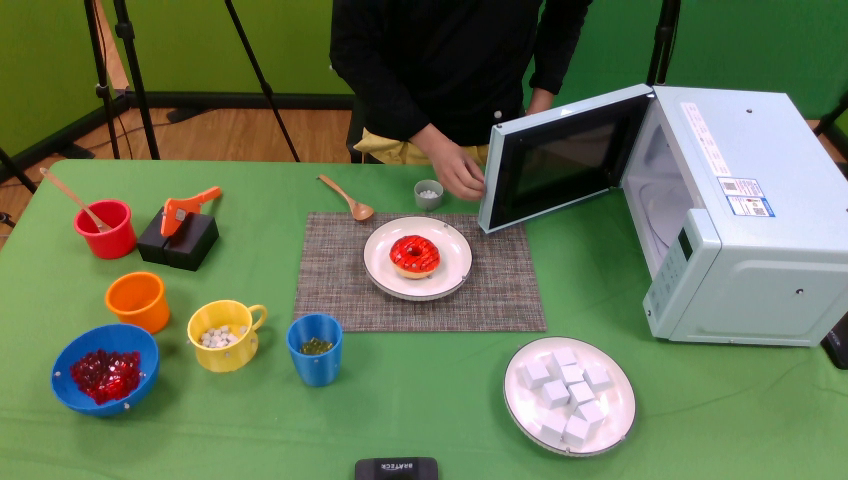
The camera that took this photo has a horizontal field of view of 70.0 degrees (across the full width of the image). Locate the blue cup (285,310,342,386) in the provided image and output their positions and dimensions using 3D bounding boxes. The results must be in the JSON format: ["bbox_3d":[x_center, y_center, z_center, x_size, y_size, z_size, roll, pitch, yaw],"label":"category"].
[{"bbox_3d":[-0.170,0.179,0.958,0.093,0.101,0.092,2,44,-1],"label":"blue cup"}]

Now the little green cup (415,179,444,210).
[{"bbox_3d":[0.011,-0.094,1.278,0.061,0.039,0.061,2,49,-2],"label":"little green cup"}]

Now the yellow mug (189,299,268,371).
[{"bbox_3d":[-0.316,0.148,1.002,0.131,0.064,0.099,-32,56,-31],"label":"yellow mug"}]

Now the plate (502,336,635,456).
[{"bbox_3d":[0.225,0.248,0.963,0.208,0.039,0.206,2,46,-2],"label":"plate"}]

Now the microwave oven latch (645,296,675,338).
[{"bbox_3d":[0.412,0.134,1.061,0.030,0.029,0.078,3,45,0],"label":"microwave oven latch"}]

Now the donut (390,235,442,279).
[{"bbox_3d":[-0.016,0.031,1.135,0.099,0.048,0.098,3,44,-3],"label":"donut"}]

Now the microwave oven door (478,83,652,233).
[{"bbox_3d":[0.278,-0.163,1.197,0.356,0.245,0.039,-20,51,-21],"label":"microwave oven door"}]

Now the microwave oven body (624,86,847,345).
[{"bbox_3d":[0.568,-0.053,1.118,0.326,0.261,0.439,2,45,-1],"label":"microwave oven body"}]

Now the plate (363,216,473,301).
[{"bbox_3d":[-0.012,0.038,1.144,0.209,0.038,0.208,2,45,-2],"label":"plate"}]

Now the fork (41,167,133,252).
[{"bbox_3d":[-0.624,-0.056,1.121,0.208,0.018,0.028,49,51,-15],"label":"fork"}]

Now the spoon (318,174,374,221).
[{"bbox_3d":[-0.168,-0.095,1.274,0.041,0.022,0.192,-38,56,-15],"label":"spoon"}]

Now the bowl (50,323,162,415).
[{"bbox_3d":[-0.472,0.209,0.924,0.151,0.077,0.150,2,45,-2],"label":"bowl"}]

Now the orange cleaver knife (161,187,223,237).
[{"bbox_3d":[-0.448,-0.058,1.181,0.012,0.077,0.211,13,17,6],"label":"orange cleaver knife"}]
